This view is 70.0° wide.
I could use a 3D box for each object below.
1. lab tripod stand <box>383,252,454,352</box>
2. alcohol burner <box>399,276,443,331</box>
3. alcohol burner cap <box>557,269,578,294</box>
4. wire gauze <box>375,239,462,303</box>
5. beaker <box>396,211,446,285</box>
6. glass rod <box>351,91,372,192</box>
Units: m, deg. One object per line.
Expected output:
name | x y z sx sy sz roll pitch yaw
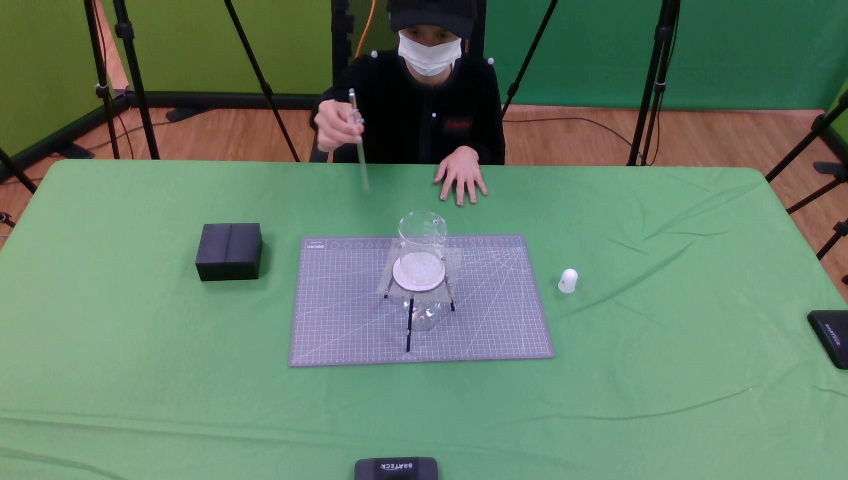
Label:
lab tripod stand | -0.015 0.094 1.025 0.148 0.132 0.147 1 46 -1
alcohol burner | -0.004 0.100 1.033 0.078 0.119 0.077 3 48 -3
alcohol burner cap | 0.270 0.074 1.135 0.034 0.048 0.033 3 46 -2
wire gauze | -0.006 0.049 0.978 0.121 0.011 0.124 10 44 5
beaker | -0.002 0.016 0.941 0.083 0.101 0.074 36 55 28
glass rod | -0.091 -0.138 0.891 0.008 0.201 0.008 -1 52 2
